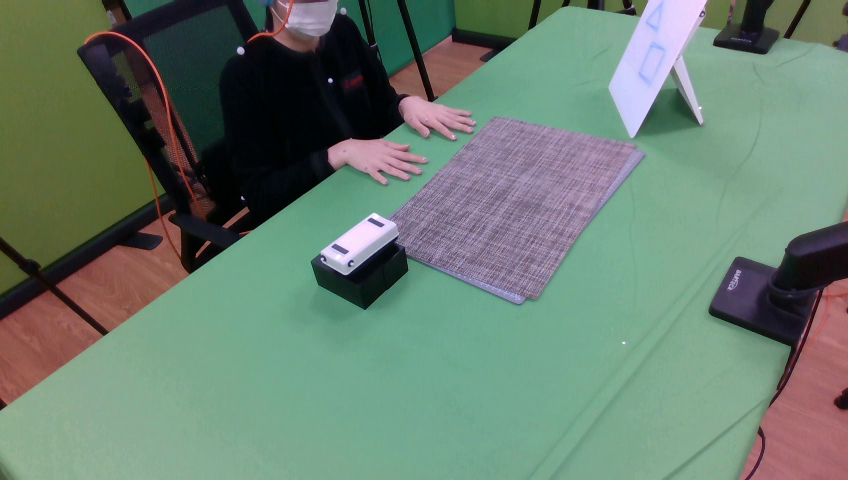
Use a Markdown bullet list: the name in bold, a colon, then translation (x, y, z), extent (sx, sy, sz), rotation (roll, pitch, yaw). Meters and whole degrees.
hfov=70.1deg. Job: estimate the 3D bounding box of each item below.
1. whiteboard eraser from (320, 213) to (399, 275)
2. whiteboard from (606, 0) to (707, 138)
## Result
- **whiteboard eraser**: translation (-0.092, 0.008, 0.885), extent (0.055, 0.042, 0.113), rotation (28, 51, 32)
- **whiteboard**: translation (0.496, -0.359, 1.147), extent (0.144, 0.305, 0.216), rotation (11, 40, -7)
